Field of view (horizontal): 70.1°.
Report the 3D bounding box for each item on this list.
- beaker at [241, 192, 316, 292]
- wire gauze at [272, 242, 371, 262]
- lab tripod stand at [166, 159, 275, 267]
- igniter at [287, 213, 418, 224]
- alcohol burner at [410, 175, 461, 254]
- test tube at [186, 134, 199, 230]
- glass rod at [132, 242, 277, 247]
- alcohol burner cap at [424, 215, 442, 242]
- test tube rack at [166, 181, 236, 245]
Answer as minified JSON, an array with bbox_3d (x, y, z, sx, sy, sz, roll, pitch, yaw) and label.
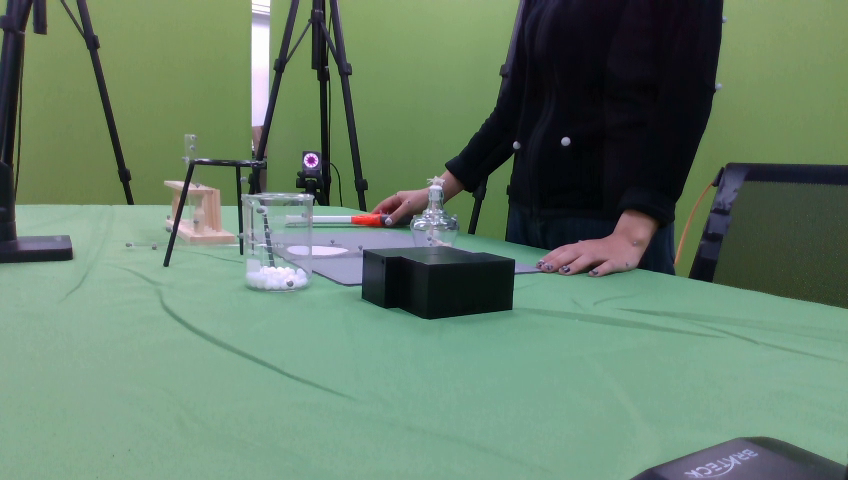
[{"bbox_3d":[-0.157,0.000,0.642,0.084,0.100,0.074,4,7,19],"label":"beaker"},{"bbox_3d":[-0.155,0.013,0.877,0.122,0.011,0.124,-3,10,-29],"label":"wire gauze"},{"bbox_3d":[-0.249,-0.036,0.764,0.148,0.131,0.148,2,9,0],"label":"lab tripod stand"},{"bbox_3d":[-0.145,-0.044,1.263,0.278,0.025,0.057,-1,-1,-24],"label":"igniter"},{"bbox_3d":[0.018,-0.040,0.931,0.078,0.119,0.078,0,7,0],"label":"alcohol burner"},{"bbox_3d":[-0.360,-0.089,0.946,0.017,0.150,0.017,0,10,0],"label":"test tube"},{"bbox_3d":[-0.316,0.007,0.885,0.201,0.008,0.008,0,7,-27],"label":"glass rod"},{"bbox_3d":[0.017,-0.022,1.098,0.034,0.048,0.034,1,10,0],"label":"alcohol burner cap"},{"bbox_3d":[-0.383,-0.051,1.024,0.067,0.085,0.241,-2,9,-31],"label":"test tube rack"}]
